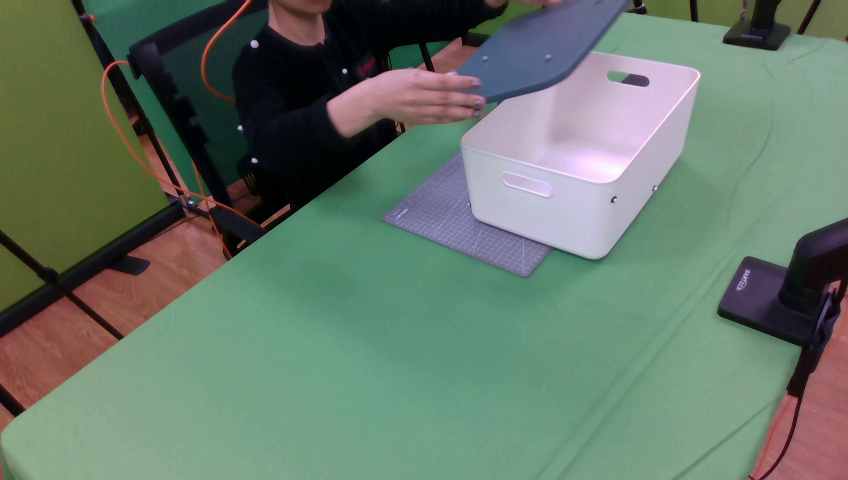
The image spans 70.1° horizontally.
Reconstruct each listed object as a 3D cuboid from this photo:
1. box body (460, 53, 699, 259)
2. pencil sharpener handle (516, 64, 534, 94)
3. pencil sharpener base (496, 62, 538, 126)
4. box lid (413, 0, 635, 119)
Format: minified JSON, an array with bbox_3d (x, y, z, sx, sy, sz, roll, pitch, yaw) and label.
[{"bbox_3d":[0.261,-0.153,1.001,0.252,0.161,0.365,21,48,31],"label":"box body"},{"bbox_3d":[0.214,-0.337,1.249,0.036,0.068,0.031,12,44,28],"label":"pencil sharpener handle"},{"bbox_3d":[0.190,-0.297,1.225,0.061,0.107,0.077,14,45,27],"label":"pencil sharpener base"},{"bbox_3d":[0.166,-0.294,0.918,0.261,0.015,0.372,-3,36,41],"label":"box lid"}]
